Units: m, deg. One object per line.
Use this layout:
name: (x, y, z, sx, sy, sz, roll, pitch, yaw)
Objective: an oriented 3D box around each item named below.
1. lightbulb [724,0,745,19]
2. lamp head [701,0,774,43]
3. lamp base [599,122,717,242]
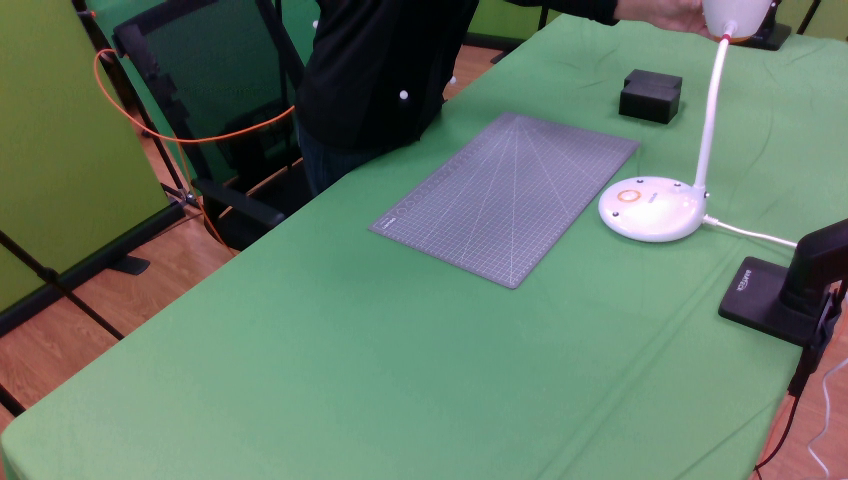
lightbulb: (0.468, -0.385, 0.907, 0.059, 0.108, 0.059, -12, 37, 10)
lamp head: (0.474, -0.362, 0.915, 0.112, 0.123, 0.112, -7, 33, 5)
lamp base: (0.367, -0.109, 0.919, 0.178, 0.181, 0.160, 13, 45, 20)
